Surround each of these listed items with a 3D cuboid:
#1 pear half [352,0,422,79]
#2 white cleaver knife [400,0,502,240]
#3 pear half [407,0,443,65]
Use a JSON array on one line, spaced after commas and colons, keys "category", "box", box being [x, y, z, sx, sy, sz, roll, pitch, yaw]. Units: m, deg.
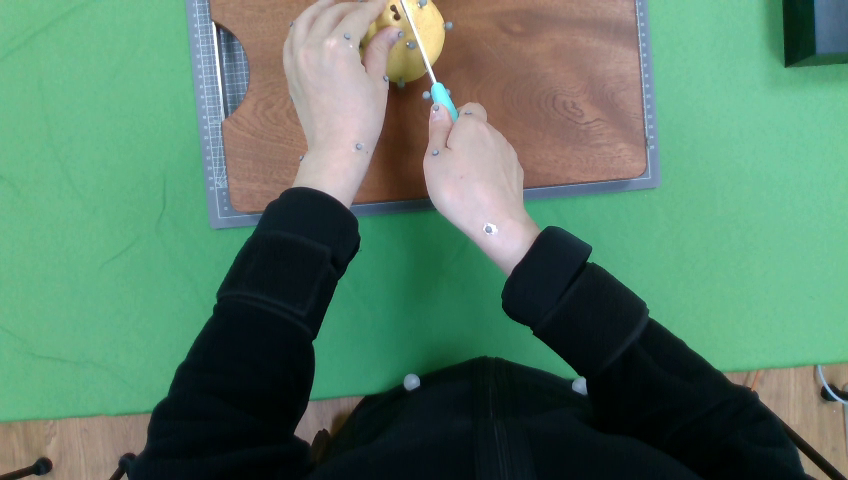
[{"category": "pear half", "box": [-0.035, -0.178, 0.520, 0.056, 0.110, 0.076, -25, 87, -1]}, {"category": "white cleaver knife", "box": [0.008, -0.136, 0.496, 0.021, 0.066, 0.286, -20, 89, 5]}, {"category": "pear half", "box": [-0.001, -0.193, 0.528, 0.031, 0.088, 0.070, -27, 88, -4]}]
